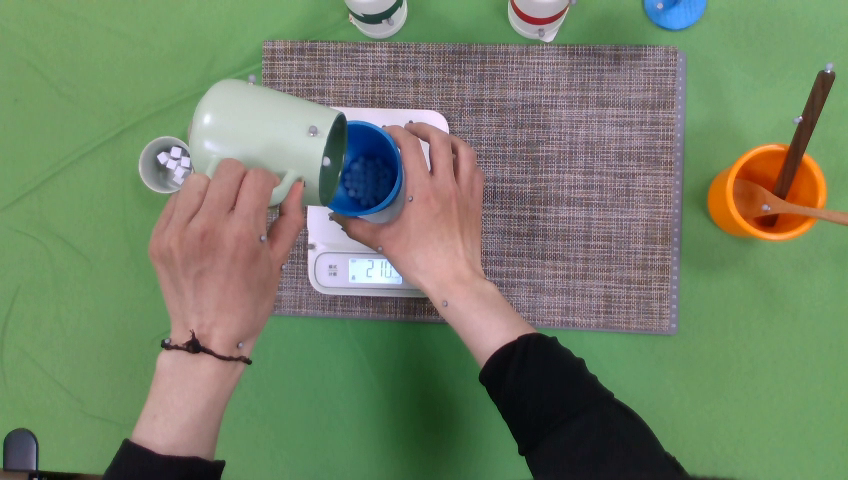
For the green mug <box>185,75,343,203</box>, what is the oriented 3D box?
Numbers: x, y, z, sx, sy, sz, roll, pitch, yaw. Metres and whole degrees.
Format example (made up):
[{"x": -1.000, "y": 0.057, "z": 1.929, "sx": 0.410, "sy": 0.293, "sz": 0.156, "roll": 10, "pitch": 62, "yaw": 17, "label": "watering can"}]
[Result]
[{"x": -0.130, "y": -0.069, "z": 0.478, "sx": 0.105, "sy": 0.124, "sz": 0.093, "roll": 12, "pitch": 129, "yaw": 2, "label": "green mug"}]

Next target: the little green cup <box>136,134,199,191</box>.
[{"x": -0.274, "y": -0.082, "z": 0.660, "sx": 0.061, "sy": 0.038, "sz": 0.061, "roll": 0, "pitch": 89, "yaw": 3, "label": "little green cup"}]

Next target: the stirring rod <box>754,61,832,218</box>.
[{"x": 0.340, "y": -0.086, "z": 0.564, "sx": 0.014, "sy": 0.178, "sz": 0.006, "roll": 12, "pitch": 49, "yaw": 18, "label": "stirring rod"}]

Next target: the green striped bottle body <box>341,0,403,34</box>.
[{"x": -0.058, "y": -0.259, "z": 0.610, "sx": 0.063, "sy": 0.119, "sz": 0.063, "roll": 0, "pitch": 88, "yaw": 4, "label": "green striped bottle body"}]

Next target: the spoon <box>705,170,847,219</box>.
[{"x": 0.357, "y": -0.032, "z": 0.562, "sx": 0.022, "sy": 0.192, "sz": 0.041, "roll": 10, "pitch": 98, "yaw": -39, "label": "spoon"}]

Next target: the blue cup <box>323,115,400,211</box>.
[{"x": -0.062, "y": -0.067, "z": 0.581, "sx": 0.092, "sy": 0.100, "sz": 0.092, "roll": 0, "pitch": 90, "yaw": 2, "label": "blue cup"}]

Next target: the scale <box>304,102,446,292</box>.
[{"x": -0.052, "y": -0.046, "z": 0.645, "sx": 0.148, "sy": 0.031, "sz": 0.200, "roll": 1, "pitch": 89, "yaw": 4, "label": "scale"}]

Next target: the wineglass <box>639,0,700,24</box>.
[{"x": 0.254, "y": -0.265, "z": 0.562, "sx": 0.073, "sy": 0.172, "sz": 0.073, "roll": 0, "pitch": 88, "yaw": 5, "label": "wineglass"}]

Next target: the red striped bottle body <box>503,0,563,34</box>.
[{"x": 0.112, "y": -0.255, "z": 0.598, "sx": 0.063, "sy": 0.120, "sz": 0.063, "roll": 0, "pitch": 88, "yaw": 4, "label": "red striped bottle body"}]
